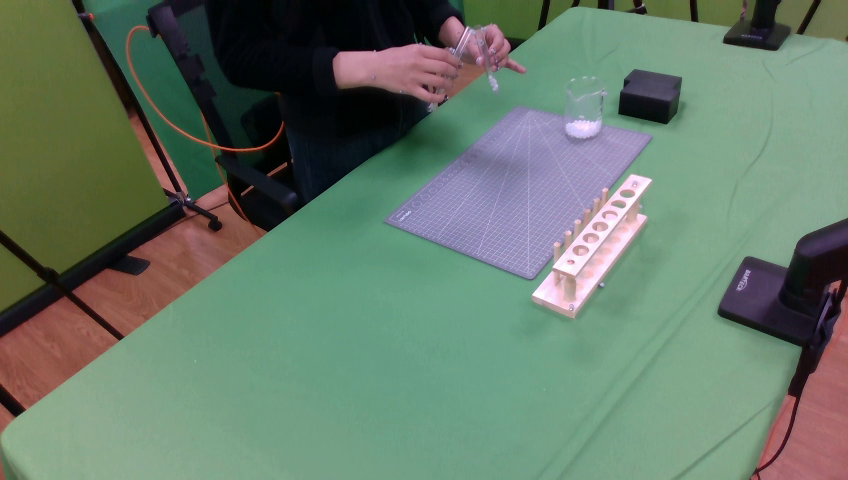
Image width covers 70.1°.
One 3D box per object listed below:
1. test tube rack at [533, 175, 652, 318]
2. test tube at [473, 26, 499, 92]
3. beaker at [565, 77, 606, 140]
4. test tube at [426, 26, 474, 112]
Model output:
[{"bbox_3d":[0.250,-0.001,0.889,0.066,0.085,0.243,22,49,33],"label":"test tube rack"},{"bbox_3d":[0.110,-0.312,1.054,0.017,0.151,0.017,-8,60,15],"label":"test tube"},{"bbox_3d":[0.304,-0.247,1.153,0.073,0.101,0.084,15,47,27],"label":"beaker"},{"bbox_3d":[0.042,-0.281,0.998,0.017,0.150,0.017,26,15,-7],"label":"test tube"}]
